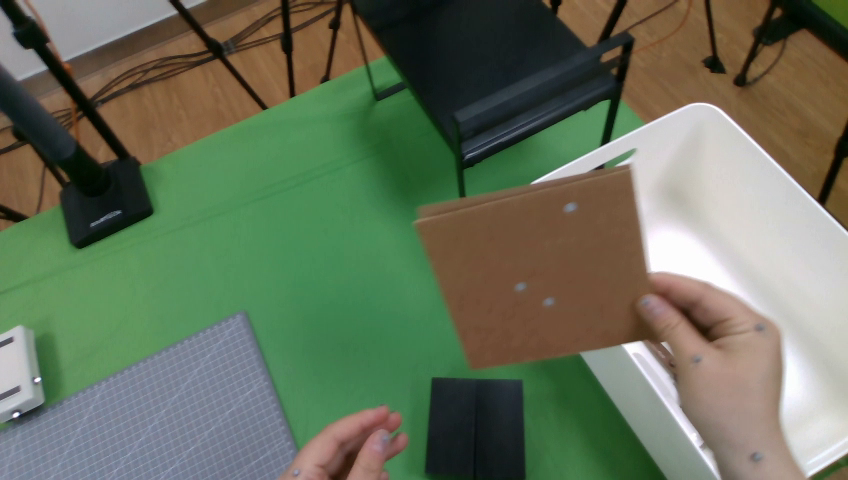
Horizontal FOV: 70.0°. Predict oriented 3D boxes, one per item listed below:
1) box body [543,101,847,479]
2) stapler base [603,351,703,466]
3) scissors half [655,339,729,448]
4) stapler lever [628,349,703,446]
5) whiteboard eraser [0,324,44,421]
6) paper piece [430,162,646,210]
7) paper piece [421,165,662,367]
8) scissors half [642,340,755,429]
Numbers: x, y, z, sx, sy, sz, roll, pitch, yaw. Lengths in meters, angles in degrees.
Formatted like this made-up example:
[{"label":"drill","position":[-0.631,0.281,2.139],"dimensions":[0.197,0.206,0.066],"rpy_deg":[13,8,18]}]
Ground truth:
[{"label":"box body","position":[0.291,0.063,0.648],"dimensions":[0.254,0.162,0.360],"rpy_deg":[-27,61,-8]},{"label":"stapler base","position":[0.250,0.179,0.663],"dimensions":[0.041,0.024,0.129],"rpy_deg":[-31,66,-7]},{"label":"scissors half","position":[0.276,0.151,0.680],"dimensions":[0.040,0.013,0.173],"rpy_deg":[-20,55,-6]},{"label":"stapler lever","position":[0.248,0.168,0.639],"dimensions":[0.027,0.040,0.117],"rpy_deg":[-31,66,-7]},{"label":"whiteboard eraser","position":[-0.514,0.165,0.758],"dimensions":[0.055,0.042,0.111],"rpy_deg":[-28,62,-8]},{"label":"paper piece","position":[0.083,0.014,0.411],"dimensions":[0.135,0.139,0.008],"rpy_deg":[-3,32,26]},{"label":"paper piece","position":[0.081,0.025,0.397],"dimensions":[0.135,0.137,0.004],"rpy_deg":[-11,31,12]},{"label":"scissors half","position":[0.295,0.142,0.684],"dimensions":[0.040,0.013,0.173],"rpy_deg":[-36,59,-22]}]
